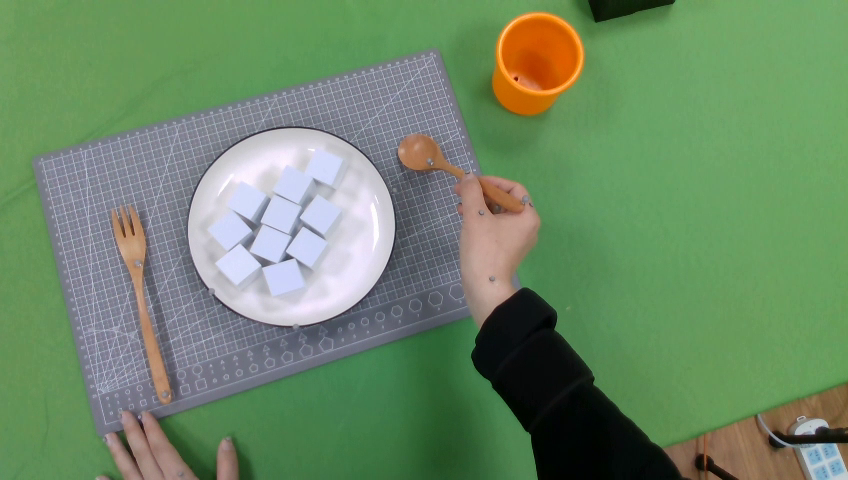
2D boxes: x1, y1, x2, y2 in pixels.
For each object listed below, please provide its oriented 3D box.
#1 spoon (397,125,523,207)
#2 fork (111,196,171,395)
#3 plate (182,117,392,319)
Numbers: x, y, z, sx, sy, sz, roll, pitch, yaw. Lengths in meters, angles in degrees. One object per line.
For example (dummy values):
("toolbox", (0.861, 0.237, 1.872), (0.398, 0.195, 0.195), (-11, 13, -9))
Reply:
("spoon", (0.030, -0.073, 0.598), (0.041, 0.191, 0.022), (-51, 132, 0))
("fork", (-0.283, 0.055, 0.611), (0.028, 0.018, 0.206), (-15, 80, -12))
("plate", (-0.137, -0.021, 0.625), (0.208, 0.039, 0.207), (1, 81, -4))
